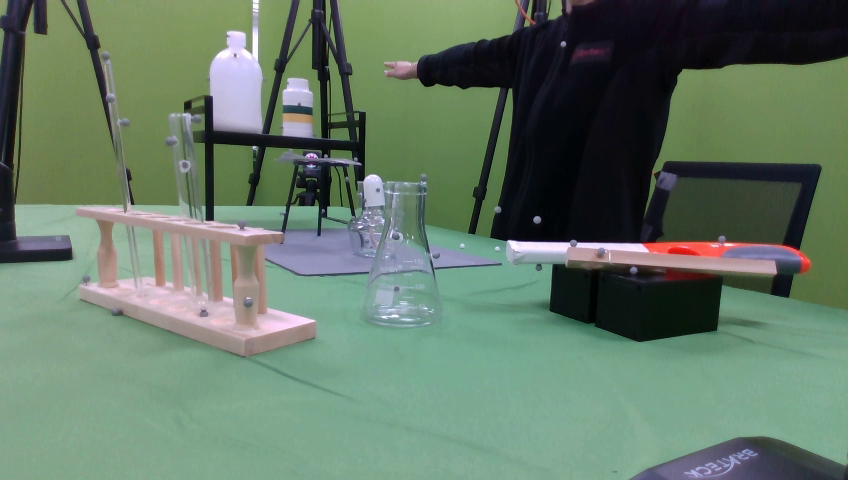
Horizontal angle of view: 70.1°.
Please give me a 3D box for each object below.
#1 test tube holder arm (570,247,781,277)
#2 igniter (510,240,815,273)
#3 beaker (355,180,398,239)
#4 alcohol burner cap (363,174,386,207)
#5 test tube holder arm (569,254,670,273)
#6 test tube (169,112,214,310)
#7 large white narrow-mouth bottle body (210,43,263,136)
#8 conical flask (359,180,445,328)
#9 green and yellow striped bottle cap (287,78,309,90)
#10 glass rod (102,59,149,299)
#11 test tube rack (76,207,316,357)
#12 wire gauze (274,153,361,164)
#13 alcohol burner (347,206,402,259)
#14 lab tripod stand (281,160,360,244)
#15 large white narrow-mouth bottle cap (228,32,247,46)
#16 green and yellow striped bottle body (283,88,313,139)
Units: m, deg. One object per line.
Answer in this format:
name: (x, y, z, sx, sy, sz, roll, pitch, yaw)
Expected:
test tube holder arm: (0.217, 0.019, 0.524, 0.178, 0.015, 0.013, 3, -23, 3)
igniter: (0.220, 0.015, 0.565, 0.277, 0.025, 0.057, 2, 16, 0)
beaker: (-0.083, -0.055, 1.083, 0.083, 0.100, 0.074, 8, 9, 31)
alcohol burner cap: (-0.072, -0.070, 0.861, 0.034, 0.048, 0.034, -7, 7, 1)
test tube holder arm: (0.172, 0.019, 0.532, 0.088, 0.015, 0.010, 3, -23, 3)
test tube: (-0.175, -0.020, 0.455, 0.017, 0.150, 0.017, -3, 9, 1)
large white narrow-mouth bottle body: (-0.369, -0.306, 1.194, 0.102, 0.194, 0.102, 3, 8, 0)
conical flask: (-0.017, 0.010, 0.522, 0.075, 0.122, 0.075, 2, 7, 0)
green and yellow striped bottle cap: (-0.265, -0.326, 1.268, 0.045, 0.020, 0.045, 4, 6, 0)
glass rod: (-0.244, -0.045, 0.496, 0.008, 0.199, 0.008, -3, 12, 1)
test tube rack: (-0.196, 0.023, 0.500, 0.241, 0.085, 0.067, 8, 9, 36)
wire gauze: (-0.174, -0.130, 0.978, 0.125, 0.011, 0.121, 1, 6, -19)
alcohol burner: (-0.071, -0.034, 0.867, 0.078, 0.119, 0.078, 0, 7, 0)
lab tripod stand: (-0.170, -0.063, 0.983, 0.148, 0.131, 0.148, 1, 6, 0)
large white narrow-mouth bottle cap: (-0.364, -0.391, 1.180, 0.038, 0.024, 0.037, 3, 8, 0)
green and yellow striped bottle body: (-0.266, -0.275, 1.275, 0.063, 0.119, 0.063, 3, 7, 0)
